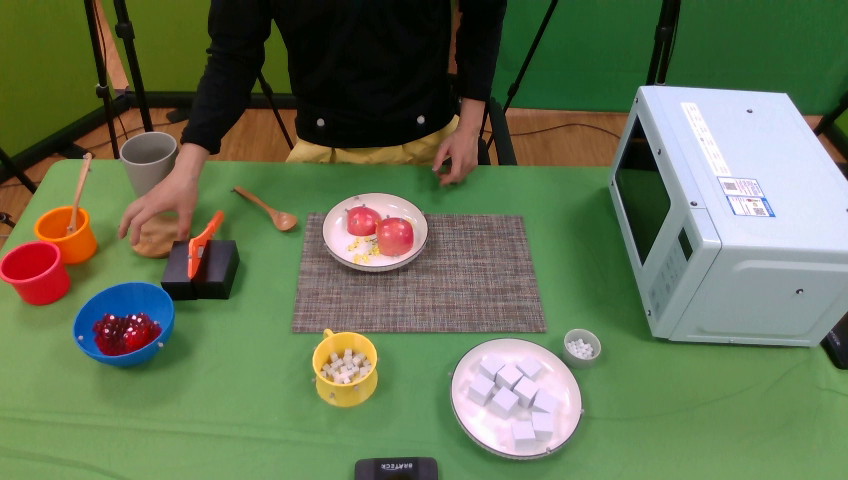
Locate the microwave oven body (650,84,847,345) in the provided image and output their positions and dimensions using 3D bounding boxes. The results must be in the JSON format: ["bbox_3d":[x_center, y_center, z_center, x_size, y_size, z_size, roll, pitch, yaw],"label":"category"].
[{"bbox_3d":[0.569,-0.054,1.116,0.326,0.261,0.439,2,46,-1],"label":"microwave oven body"}]

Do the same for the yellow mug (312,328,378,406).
[{"bbox_3d":[-0.132,0.193,0.971,0.100,0.064,0.130,-22,51,-22],"label":"yellow mug"}]

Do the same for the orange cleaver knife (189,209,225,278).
[{"bbox_3d":[-0.400,0.002,1.122,0.012,0.077,0.210,1,23,-3],"label":"orange cleaver knife"}]

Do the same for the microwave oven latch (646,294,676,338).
[{"bbox_3d":[0.413,0.133,1.061,0.030,0.029,0.078,4,46,1],"label":"microwave oven latch"}]

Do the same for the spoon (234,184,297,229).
[{"bbox_3d":[-0.328,-0.074,1.240,0.193,0.022,0.041,34,69,25],"label":"spoon"}]

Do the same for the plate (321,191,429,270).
[{"bbox_3d":[-0.094,-0.015,1.185,0.209,0.038,0.208,2,46,-2],"label":"plate"}]

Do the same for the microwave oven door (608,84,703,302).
[{"bbox_3d":[0.424,-0.096,1.138,0.039,0.245,0.353,2,47,-1],"label":"microwave oven door"}]

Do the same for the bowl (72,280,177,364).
[{"bbox_3d":[-0.473,0.147,0.982,0.151,0.077,0.150,2,46,-2],"label":"bowl"}]

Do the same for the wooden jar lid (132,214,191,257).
[{"bbox_3d":[-0.504,-0.008,1.167,0.108,0.021,0.107,3,46,-3],"label":"wooden jar lid"}]

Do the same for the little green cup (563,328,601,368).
[{"bbox_3d":[0.265,0.185,1.025,0.061,0.039,0.061,1,45,-1],"label":"little green cup"}]

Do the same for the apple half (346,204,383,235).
[{"bbox_3d":[-0.119,-0.049,1.207,0.081,0.033,0.081,2,50,-2],"label":"apple half"}]

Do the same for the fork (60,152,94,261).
[{"bbox_3d":[-0.638,-0.063,1.119,0.028,0.018,0.207,12,90,8],"label":"fork"}]

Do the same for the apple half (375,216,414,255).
[{"bbox_3d":[-0.056,-0.017,1.169,0.075,0.053,0.080,0,45,-7],"label":"apple half"}]

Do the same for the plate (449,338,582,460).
[{"bbox_3d":[0.141,0.251,0.955,0.208,0.039,0.206,2,46,-2],"label":"plate"}]

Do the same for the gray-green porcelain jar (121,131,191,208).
[{"bbox_3d":[-0.531,-0.136,1.213,0.106,0.127,0.105,2,47,-2],"label":"gray-green porcelain jar"}]
